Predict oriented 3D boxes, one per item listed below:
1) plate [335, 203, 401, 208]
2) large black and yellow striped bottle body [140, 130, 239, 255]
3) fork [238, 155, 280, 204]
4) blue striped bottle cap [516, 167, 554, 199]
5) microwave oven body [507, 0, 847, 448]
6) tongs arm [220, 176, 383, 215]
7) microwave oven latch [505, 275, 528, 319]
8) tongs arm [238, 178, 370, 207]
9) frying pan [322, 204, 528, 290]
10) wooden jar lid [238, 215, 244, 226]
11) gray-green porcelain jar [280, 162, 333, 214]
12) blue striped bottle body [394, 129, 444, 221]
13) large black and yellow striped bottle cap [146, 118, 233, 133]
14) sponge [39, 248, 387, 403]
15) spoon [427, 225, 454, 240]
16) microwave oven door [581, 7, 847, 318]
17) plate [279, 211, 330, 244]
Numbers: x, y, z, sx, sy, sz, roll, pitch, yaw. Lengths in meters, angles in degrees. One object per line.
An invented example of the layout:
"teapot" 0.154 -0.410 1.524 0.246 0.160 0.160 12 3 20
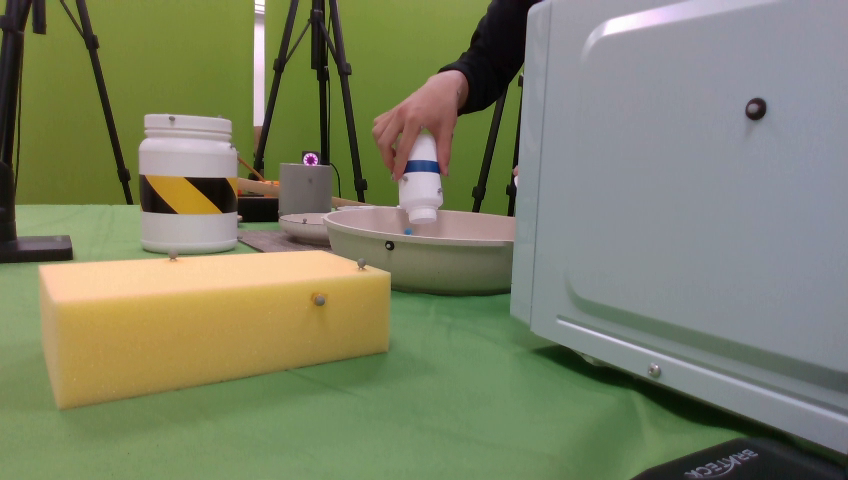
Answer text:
"plate" -0.089 -0.053 1.309 0.208 0.039 0.207 2 8 0
"large black and yellow striped bottle body" -0.336 -0.078 0.871 0.131 0.184 0.130 2 8 0
"fork" -0.396 -0.143 1.486 0.028 0.018 0.208 19 -26 45
"blue striped bottle cap" 0.139 -0.072 0.753 0.045 0.020 0.044 17 35 -12
"microwave oven body" 0.331 -0.042 0.425 0.444 0.260 0.324 -2 8 -31
"tongs arm" -0.285 -0.105 1.445 0.389 0.027 0.028 10 -3 -23
"microwave oven latch" 0.100 0.042 0.471 0.079 0.029 0.030 -1 7 -29
"tongs arm" -0.241 -0.095 1.373 0.387 0.026 0.050 9 0 -37
"frying pan" 0.109 -0.017 0.800 0.490 0.102 0.305 -12 16 -30
"wooden jar lid" -0.404 -0.037 1.169 0.108 0.020 0.108 3 7 0
"gray-green porcelain jar" -0.238 -0.092 1.221 0.106 0.126 0.106 2 7 0
"blue striped bottle body" -0.007 -0.088 0.849 0.063 0.120 0.063 -6 -11 -1
"large black and yellow striped bottle cap" -0.332 -0.163 0.860 0.115 0.019 0.115 1 9 0
"sponge" -0.142 0.047 0.420 0.208 0.061 0.117 -3 8 -37
"spoon" 0.024 -0.019 1.124 0.042 0.021 0.193 -16 9 -4
"microwave oven door" 0.295 -0.067 0.569 0.358 0.243 0.039 -3 8 -31
"plate" -0.139 -0.022 1.021 0.209 0.038 0.209 2 8 0
